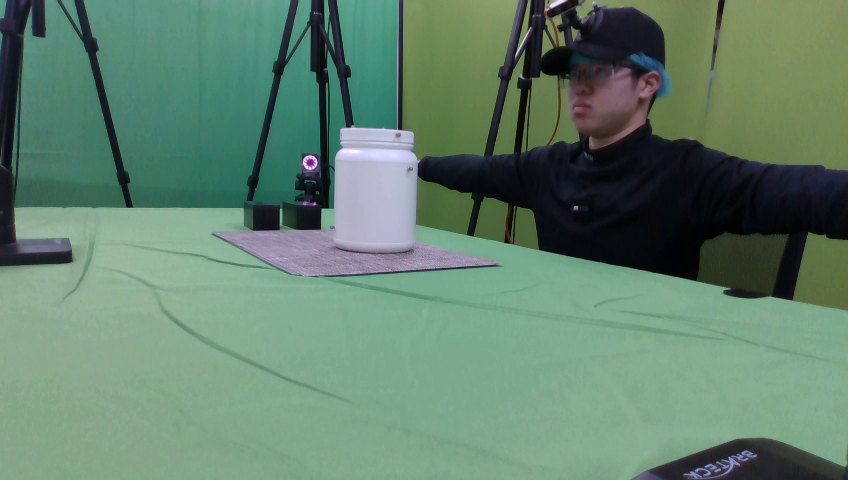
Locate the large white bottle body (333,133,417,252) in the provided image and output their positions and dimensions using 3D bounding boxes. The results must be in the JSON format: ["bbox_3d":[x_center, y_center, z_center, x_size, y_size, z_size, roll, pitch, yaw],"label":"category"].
[{"bbox_3d":[-0.076,-0.080,0.950,0.131,0.184,0.130,2,7,0],"label":"large white bottle body"}]

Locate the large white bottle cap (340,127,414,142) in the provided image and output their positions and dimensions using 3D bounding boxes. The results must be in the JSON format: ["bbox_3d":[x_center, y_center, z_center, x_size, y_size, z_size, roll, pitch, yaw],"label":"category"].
[{"bbox_3d":[-0.072,-0.163,0.940,0.115,0.018,0.115,2,7,0],"label":"large white bottle cap"}]
